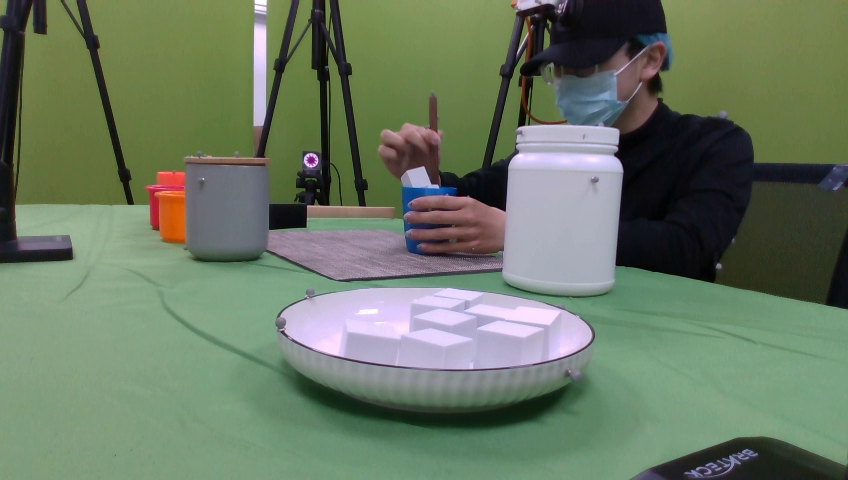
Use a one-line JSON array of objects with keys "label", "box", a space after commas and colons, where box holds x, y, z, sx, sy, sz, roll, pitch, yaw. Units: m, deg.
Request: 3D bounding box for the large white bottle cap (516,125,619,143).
[{"label": "large white bottle cap", "box": [0.164, -0.120, 0.695, 0.115, 0.018, 0.115, 2, 7, 0]}]

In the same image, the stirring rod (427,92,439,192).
[{"label": "stirring rod", "box": [0.014, -0.136, 0.916, 0.014, 0.176, 0.006, -1, 3, 38]}]

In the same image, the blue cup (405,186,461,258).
[{"label": "blue cup", "box": [0.010, -0.027, 0.920, 0.093, 0.100, 0.092, 4, 10, 0]}]

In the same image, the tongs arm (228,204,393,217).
[{"label": "tongs arm", "box": [-0.267, -0.070, 1.453, 0.389, 0.027, 0.028, 0, -1, -18]}]

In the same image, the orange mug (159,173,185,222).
[{"label": "orange mug", "box": [-0.477, -0.089, 1.241, 0.127, 0.101, 0.083, -7, 11, -33]}]

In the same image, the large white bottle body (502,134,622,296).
[{"label": "large white bottle body", "box": [0.161, -0.037, 0.706, 0.131, 0.184, 0.130, 2, 7, 0]}]

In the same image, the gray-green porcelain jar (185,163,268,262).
[{"label": "gray-green porcelain jar", "box": [-0.263, -0.038, 0.808, 0.106, 0.126, 0.106, 3, 8, 0]}]

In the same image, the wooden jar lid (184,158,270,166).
[{"label": "wooden jar lid", "box": [-0.260, -0.099, 0.801, 0.108, 0.020, 0.108, 0, 9, 0]}]

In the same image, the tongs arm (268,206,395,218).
[{"label": "tongs arm", "box": [-0.230, -0.064, 1.379, 0.387, 0.026, 0.050, -1, 3, -31]}]

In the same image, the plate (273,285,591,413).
[{"label": "plate", "box": [0.005, 0.069, 0.407, 0.208, 0.039, 0.207, 2, 7, 0]}]

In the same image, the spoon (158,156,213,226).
[{"label": "spoon", "box": [-0.435, -0.094, 1.121, 0.041, 0.022, 0.193, 5, 51, 13]}]
